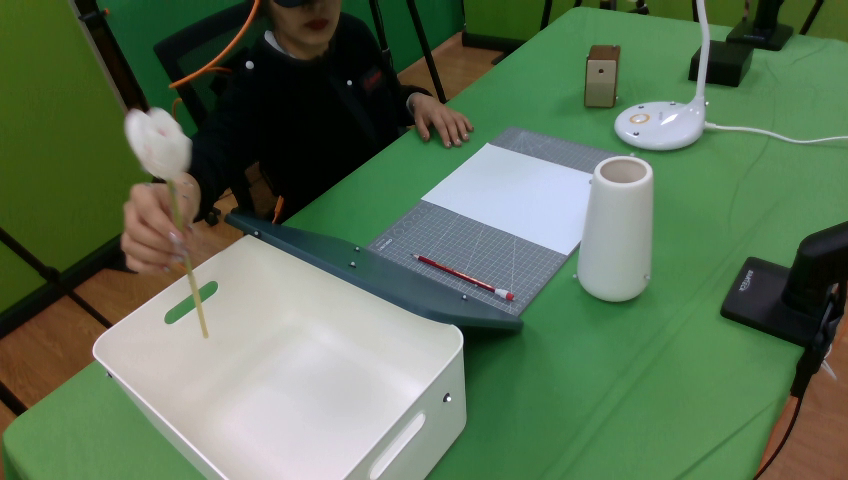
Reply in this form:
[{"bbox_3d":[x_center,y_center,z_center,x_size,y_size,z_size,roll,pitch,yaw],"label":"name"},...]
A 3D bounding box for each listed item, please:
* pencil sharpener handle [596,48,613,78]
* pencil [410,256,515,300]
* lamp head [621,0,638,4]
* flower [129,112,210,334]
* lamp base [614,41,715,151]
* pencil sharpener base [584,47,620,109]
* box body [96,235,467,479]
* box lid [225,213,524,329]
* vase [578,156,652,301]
[{"bbox_3d":[0.383,-0.378,1.276,0.036,0.068,0.030,3,41,21],"label":"pencil sharpener handle"},{"bbox_3d":[0.054,0.054,0.918,0.192,0.012,0.012,21,48,33],"label":"pencil"},{"bbox_3d":[0.319,-0.453,0.962,0.113,0.123,0.112,20,33,-13],"label":"lamp head"},{"bbox_3d":[-0.247,0.011,0.631,0.044,0.362,0.038,15,52,0],"label":"flower"},{"bbox_3d":[0.449,-0.277,1.106,0.179,0.181,0.160,1,41,9],"label":"lamp base"},{"bbox_3d":[0.367,-0.336,1.248,0.061,0.107,0.076,6,42,19],"label":"pencil sharpener base"},{"bbox_3d":[-0.155,0.169,0.707,0.361,0.161,0.255,23,49,33],"label":"box body"},{"bbox_3d":[-0.066,0.042,0.816,0.368,0.265,0.015,22,93,32],"label":"box lid"},{"bbox_3d":[0.261,-0.011,0.812,0.098,0.201,0.097,-4,40,4],"label":"vase"}]
